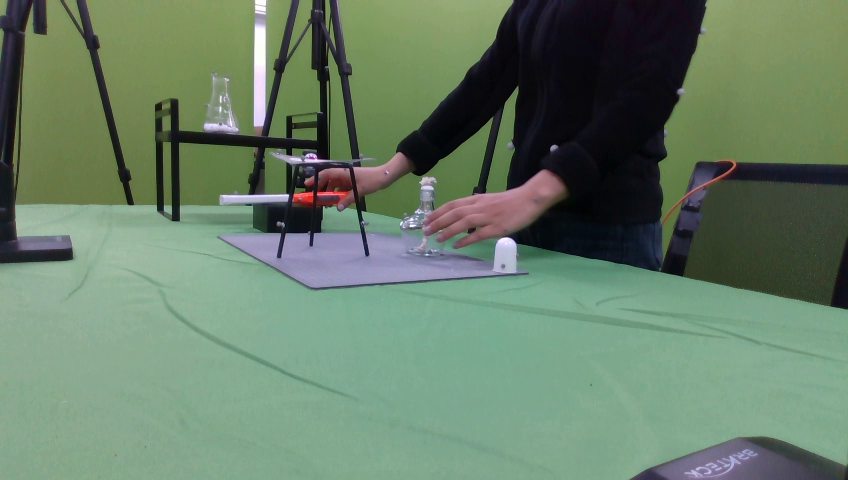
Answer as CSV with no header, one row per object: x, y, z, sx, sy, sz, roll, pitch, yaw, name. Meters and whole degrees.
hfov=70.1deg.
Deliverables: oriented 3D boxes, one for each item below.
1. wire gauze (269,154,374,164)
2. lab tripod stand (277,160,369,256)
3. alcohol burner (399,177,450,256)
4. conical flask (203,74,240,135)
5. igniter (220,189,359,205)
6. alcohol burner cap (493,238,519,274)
-0.146,-0.114,0.860,0.122,0.011,0.124,-2,9,-28,wire gauze
-0.150,-0.046,0.861,0.148,0.131,0.148,3,9,0,lab tripod stand
0.002,-0.036,0.909,0.078,0.119,0.078,4,7,0,alcohol burner
-0.425,-0.284,1.271,0.075,0.122,0.075,3,7,0,conical flask
-0.246,-0.081,1.158,0.278,0.025,0.057,-5,6,-33,igniter
0.107,0.021,0.785,0.034,0.048,0.034,1,7,0,alcohol burner cap
